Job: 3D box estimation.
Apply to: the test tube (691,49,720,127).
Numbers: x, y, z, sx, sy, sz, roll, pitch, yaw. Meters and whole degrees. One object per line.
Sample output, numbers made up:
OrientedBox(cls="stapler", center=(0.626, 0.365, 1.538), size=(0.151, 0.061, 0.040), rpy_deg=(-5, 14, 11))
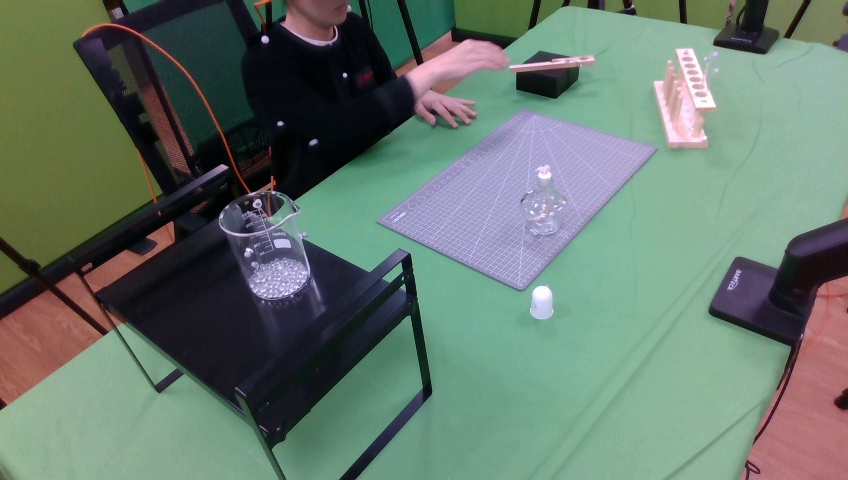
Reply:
OrientedBox(cls="test tube", center=(0.505, -0.270, 1.087), size=(0.017, 0.151, 0.017), rpy_deg=(-2, 41, 2))

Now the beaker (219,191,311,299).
OrientedBox(cls="beaker", center=(-0.164, 0.008, 0.654), size=(0.084, 0.101, 0.073), rpy_deg=(-10, 41, -3))

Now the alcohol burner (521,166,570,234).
OrientedBox(cls="alcohol burner", center=(0.192, -0.068, 0.951), size=(0.078, 0.119, 0.077), rpy_deg=(-4, 42, 4))

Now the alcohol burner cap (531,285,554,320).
OrientedBox(cls="alcohol burner cap", center=(0.164, 0.084, 0.838), size=(0.034, 0.048, 0.033), rpy_deg=(-4, 40, 4))

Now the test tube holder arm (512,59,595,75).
OrientedBox(cls="test tube holder arm", center=(0.276, -0.371, 1.294), size=(0.179, 0.015, 0.013), rpy_deg=(-8, 38, -2))

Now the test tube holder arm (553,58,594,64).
OrientedBox(cls="test tube holder arm", center=(0.321, -0.380, 1.299), size=(0.088, 0.015, 0.010), rpy_deg=(-5, 38, 1))

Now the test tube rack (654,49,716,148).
OrientedBox(cls="test tube rack", center=(0.502, -0.281, 1.176), size=(0.066, 0.085, 0.241), rpy_deg=(2, 41, 11))
